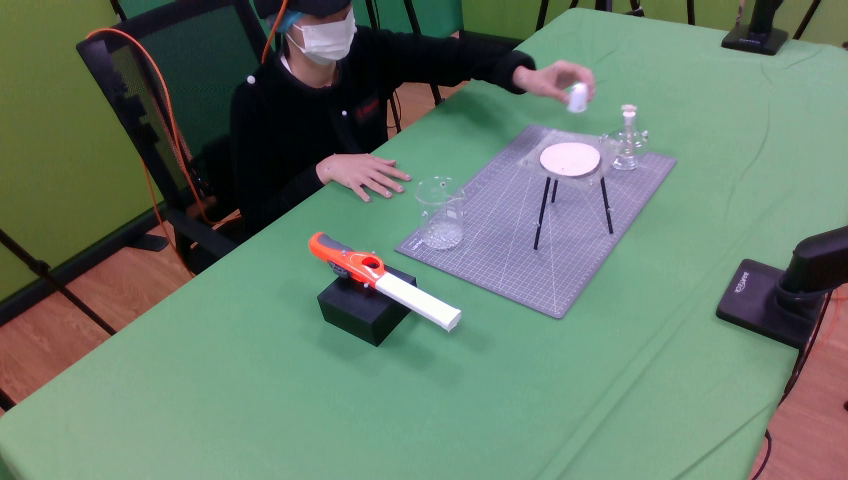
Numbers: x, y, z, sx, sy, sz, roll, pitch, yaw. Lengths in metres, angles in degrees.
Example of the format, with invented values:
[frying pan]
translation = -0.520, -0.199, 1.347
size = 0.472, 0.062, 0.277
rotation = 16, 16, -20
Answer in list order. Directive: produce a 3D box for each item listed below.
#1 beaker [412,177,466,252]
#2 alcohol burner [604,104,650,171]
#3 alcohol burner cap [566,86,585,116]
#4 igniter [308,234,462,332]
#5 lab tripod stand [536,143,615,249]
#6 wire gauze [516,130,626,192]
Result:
[beaker]
translation = 0.029, -0.038, 0.952
size = 0.083, 0.101, 0.074
rotation = 9, 43, 18
[alcohol burner]
translation = 0.357, -0.182, 1.060
size = 0.078, 0.119, 0.077
rotation = -6, 40, 6
[alcohol burner cap]
translation = 0.267, -0.245, 1.058
size = 0.034, 0.048, 0.033
rotation = -3, 43, 3
[igniter]
translation = -0.065, 0.053, 0.846
size = 0.274, 0.025, 0.057
rotation = 26, 49, 30
[lab tripod stand]
translation = 0.224, -0.069, 0.931
size = 0.148, 0.132, 0.147
rotation = -4, 42, 4
[wire gauze]
translation = 0.217, -0.124, 0.892
size = 0.124, 0.011, 0.122
rotation = 22, 49, 31
